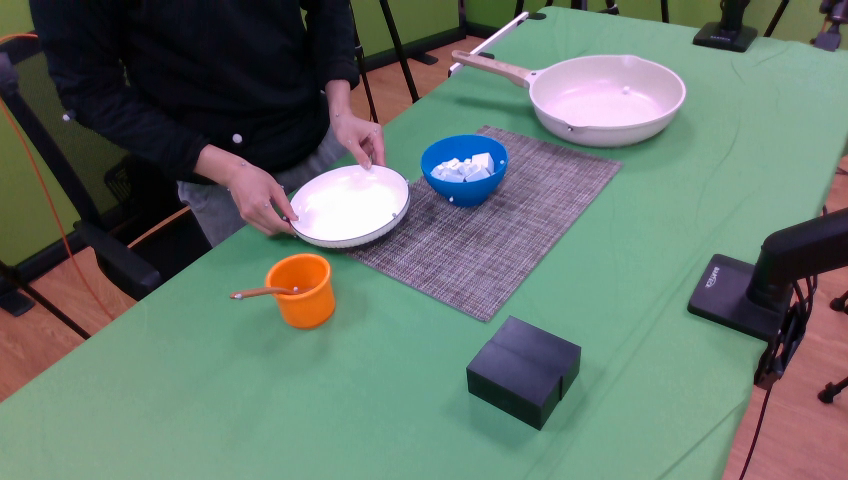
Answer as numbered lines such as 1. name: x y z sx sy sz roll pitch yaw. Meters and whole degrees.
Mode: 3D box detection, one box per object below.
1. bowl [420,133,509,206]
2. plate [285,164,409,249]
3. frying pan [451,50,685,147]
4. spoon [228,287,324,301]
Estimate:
1. bowl: 0.071 -0.112 1.038 0.151 0.077 0.150 -4 41 4
2. plate: -0.125 -0.053 1.011 0.207 0.039 0.206 -6 41 5
3. frying pan: 0.269 -0.316 1.233 0.485 0.103 0.307 26 49 21
4. spoon: -0.197 0.071 0.816 0.041 0.195 0.021 13 88 23
